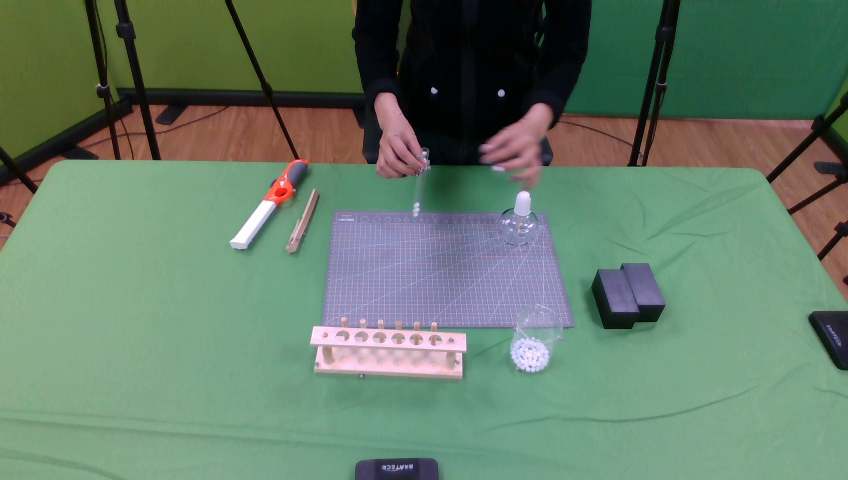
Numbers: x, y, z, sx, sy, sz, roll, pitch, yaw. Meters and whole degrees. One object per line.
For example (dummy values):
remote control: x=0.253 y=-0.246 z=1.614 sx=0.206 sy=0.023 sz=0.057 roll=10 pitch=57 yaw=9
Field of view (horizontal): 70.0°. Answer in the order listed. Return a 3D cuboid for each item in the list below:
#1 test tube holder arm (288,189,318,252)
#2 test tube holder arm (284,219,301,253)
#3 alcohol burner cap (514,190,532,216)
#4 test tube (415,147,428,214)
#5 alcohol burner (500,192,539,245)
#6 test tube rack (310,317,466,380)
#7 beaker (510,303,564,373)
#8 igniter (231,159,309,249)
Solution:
test tube holder arm: x=-0.242 y=-0.043 z=1.223 sx=0.013 sy=0.015 sz=0.177 roll=-14 pitch=39 yaw=25
test tube holder arm: x=-0.254 y=-0.010 z=1.194 sx=0.010 sy=0.015 sz=0.087 roll=-14 pitch=39 yaw=26
alcohol burner cap: x=0.192 y=-0.074 z=1.166 sx=0.034 sy=0.048 sz=0.033 roll=1 pitch=41 yaw=-1
test tube: x=-0.005 y=-0.106 z=1.113 sx=0.017 sy=0.151 sz=0.017 roll=3 pitch=43 yaw=-3
alcohol burner: x=0.190 y=-0.048 z=1.190 sx=0.078 sy=0.120 sz=0.077 roll=1 pitch=47 yaw=-1
test tube rack: x=-0.056 y=0.171 z=0.987 sx=0.242 sy=0.085 sz=0.066 roll=3 pitch=45 yaw=-1
beaker: x=0.182 y=0.164 z=1.000 sx=0.074 sy=0.101 sz=0.083 roll=2 pitch=46 yaw=-1
igniter: x=-0.313 y=-0.082 z=1.251 sx=0.057 sy=0.025 sz=0.275 roll=8 pitch=45 yaw=18
